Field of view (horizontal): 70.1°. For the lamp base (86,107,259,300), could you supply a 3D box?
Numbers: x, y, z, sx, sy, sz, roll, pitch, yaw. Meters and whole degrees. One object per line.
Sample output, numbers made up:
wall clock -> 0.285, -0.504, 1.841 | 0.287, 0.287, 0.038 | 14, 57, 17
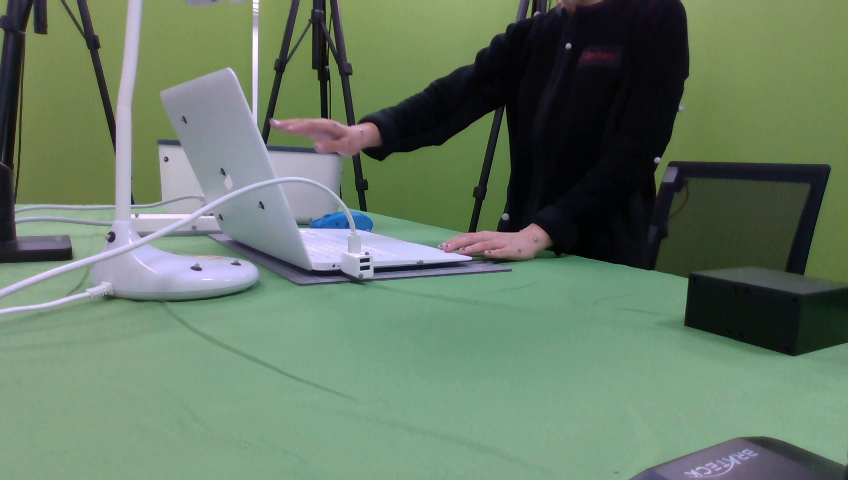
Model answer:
lamp base -> -0.254, -0.039, 0.603 | 0.160, 0.180, 0.179 | 4, 10, 18

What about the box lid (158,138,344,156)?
box lid -> -0.363, -0.201, 1.328 | 0.372, 0.015, 0.262 | 2, 7, -8

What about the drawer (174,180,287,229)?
drawer -> -0.413, -0.080, 1.325 | 0.212, 0.073, 0.194 | -8, 11, -8

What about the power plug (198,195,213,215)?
power plug -> -0.386, -0.055, 1.088 | 0.035, 0.052, 0.072 | -1, 6, -24

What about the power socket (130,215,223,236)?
power socket -> -0.397, -0.028, 1.048 | 0.228, 0.032, 0.072 | -3, 7, -35

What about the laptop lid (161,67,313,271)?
laptop lid -> -0.255, -0.090, 0.782 | 0.013, 0.242, 0.355 | -29, 24, -28

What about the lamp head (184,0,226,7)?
lamp head -> -0.229, -0.320, 0.627 | 0.112, 0.112, 0.123 | 6, -36, 26

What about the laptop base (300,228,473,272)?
laptop base -> -0.124, 0.011, 0.889 | 0.237, 0.023, 0.352 | 1, 7, -35

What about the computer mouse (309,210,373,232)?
computer mouse -> -0.157, -0.034, 1.139 | 0.118, 0.041, 0.062 | -6, 12, -28

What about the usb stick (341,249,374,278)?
usb stick -> -0.079, 0.026, 0.687 | 0.021, 0.027, 0.059 | -7, 9, -30

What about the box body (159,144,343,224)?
box body -> -0.364, -0.128, 1.337 | 0.365, 0.160, 0.253 | 2, 7, -8
